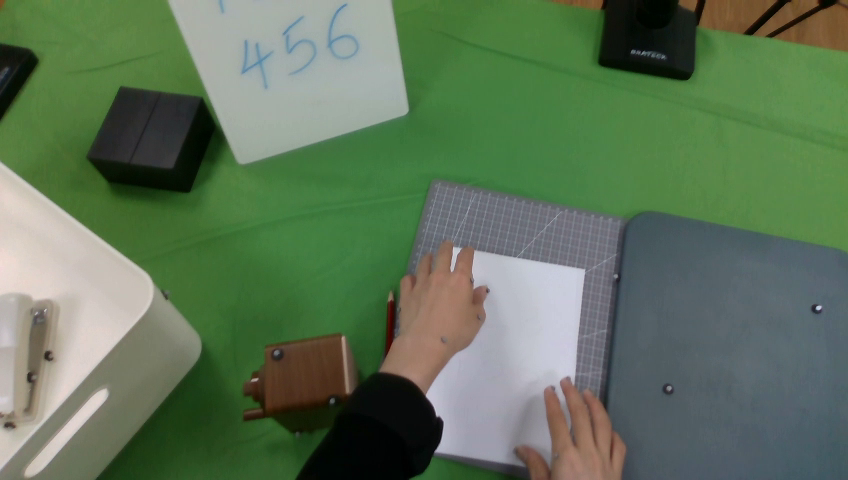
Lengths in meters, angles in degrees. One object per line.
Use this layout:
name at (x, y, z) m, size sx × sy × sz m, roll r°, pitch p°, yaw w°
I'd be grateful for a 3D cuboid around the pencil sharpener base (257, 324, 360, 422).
pencil sharpener base at (-0.103, 0.126, 0.558) m, size 0.077 × 0.108 × 0.061 m, roll -8°, pitch 65°, yaw -3°

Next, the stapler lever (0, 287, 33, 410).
stapler lever at (-0.397, 0.101, 0.579) m, size 0.027 × 0.040 × 0.117 m, roll -7°, pitch 68°, yaw -1°

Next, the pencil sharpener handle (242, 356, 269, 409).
pencil sharpener handle at (-0.153, 0.132, 0.541) m, size 0.031 × 0.068 × 0.035 m, roll -8°, pitch 48°, yaw -3°

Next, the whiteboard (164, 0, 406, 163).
whiteboard at (-0.163, -0.276, 0.670) m, size 0.217 × 0.308 × 0.142 m, roll -19°, pitch 47°, yaw -8°

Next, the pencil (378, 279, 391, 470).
pencil at (-0.038, 0.129, 0.609) m, size 0.012 × 0.012 × 0.192 m, roll 0°, pitch 65°, yaw 0°

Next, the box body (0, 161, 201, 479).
box body at (-0.424, 0.069, 0.552) m, size 0.362 × 0.161 × 0.253 m, roll 32°, pitch 69°, yaw 14°

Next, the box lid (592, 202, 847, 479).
box lid at (0.314, 0.139, 0.608) m, size 0.263 × 0.015 × 0.369 m, roll 12°, pitch 66°, yaw 4°

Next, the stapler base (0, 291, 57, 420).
stapler base at (-0.398, 0.110, 0.603) m, size 0.041 × 0.024 × 0.129 m, roll -7°, pitch 67°, yaw -2°
